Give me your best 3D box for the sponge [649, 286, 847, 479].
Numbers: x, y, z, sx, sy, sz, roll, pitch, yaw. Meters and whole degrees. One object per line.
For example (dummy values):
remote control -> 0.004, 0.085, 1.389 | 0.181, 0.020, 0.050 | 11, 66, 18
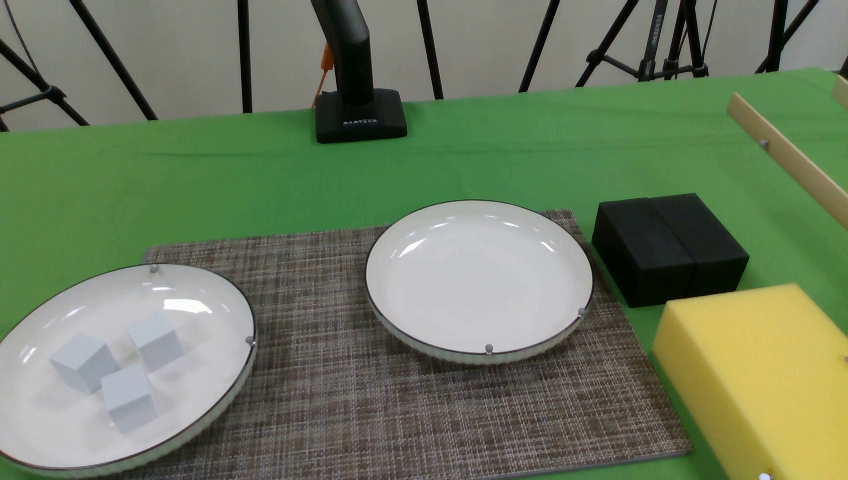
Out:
sponge -> 0.269, 0.131, 0.438 | 0.118, 0.061, 0.204 | -8, 41, -8

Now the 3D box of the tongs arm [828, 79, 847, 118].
tongs arm -> 0.429, -0.020, 0.499 | 0.051, 0.027, 0.380 | -7, 46, -3

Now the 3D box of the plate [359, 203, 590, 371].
plate -> 0.045, 0.042, 0.560 | 0.208, 0.039, 0.205 | 0, 40, 0

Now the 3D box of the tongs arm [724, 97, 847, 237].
tongs arm -> 0.367, -0.009, 0.495 | 0.028, 0.028, 0.383 | -11, 46, -11

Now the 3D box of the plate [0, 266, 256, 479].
plate -> -0.239, 0.103, 0.489 | 0.209, 0.038, 0.207 | 0, 39, 0
